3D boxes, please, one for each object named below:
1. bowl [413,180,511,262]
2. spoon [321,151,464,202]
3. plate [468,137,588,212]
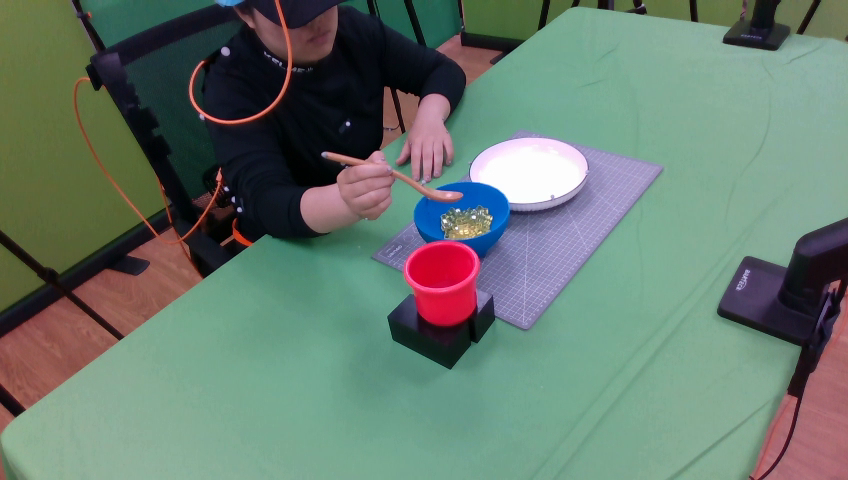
[{"bbox_3d":[0.062,-0.019,0.945,0.151,0.077,0.150,-5,40,5],"label":"bowl"},{"bbox_3d":[-0.039,-0.084,0.788,0.195,0.021,0.041,20,19,-14],"label":"spoon"},{"bbox_3d":[0.182,-0.112,1.064,0.207,0.039,0.206,-5,40,5],"label":"plate"}]
